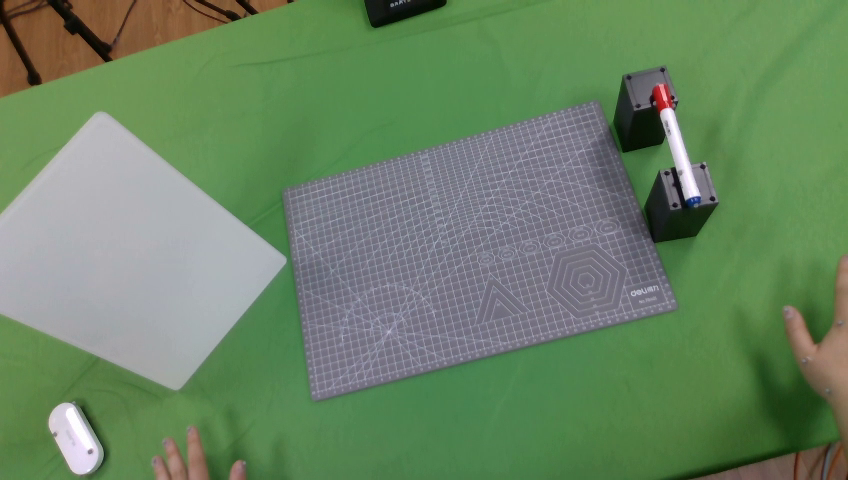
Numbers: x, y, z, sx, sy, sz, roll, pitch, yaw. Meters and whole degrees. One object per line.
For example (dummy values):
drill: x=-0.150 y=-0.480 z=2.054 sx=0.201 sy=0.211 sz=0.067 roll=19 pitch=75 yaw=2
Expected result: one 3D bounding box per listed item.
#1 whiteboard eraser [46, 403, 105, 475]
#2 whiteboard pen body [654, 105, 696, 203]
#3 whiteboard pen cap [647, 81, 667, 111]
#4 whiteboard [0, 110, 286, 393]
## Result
whiteboard eraser: x=-0.442 y=0.250 z=0.764 sx=0.041 sy=0.019 sz=0.100 roll=-41 pitch=69 yaw=-7
whiteboard pen body: x=0.270 y=-0.104 z=0.661 sx=0.017 sy=0.017 sz=0.139 roll=-11 pitch=68 yaw=6
whiteboard pen cap: x=0.262 y=-0.161 z=0.681 sx=0.017 sy=0.017 sz=0.032 roll=-9 pitch=70 yaw=7
whiteboard: x=-0.358 y=0.009 z=0.718 sx=0.142 sy=0.309 sz=0.217 roll=30 pitch=78 yaw=39
